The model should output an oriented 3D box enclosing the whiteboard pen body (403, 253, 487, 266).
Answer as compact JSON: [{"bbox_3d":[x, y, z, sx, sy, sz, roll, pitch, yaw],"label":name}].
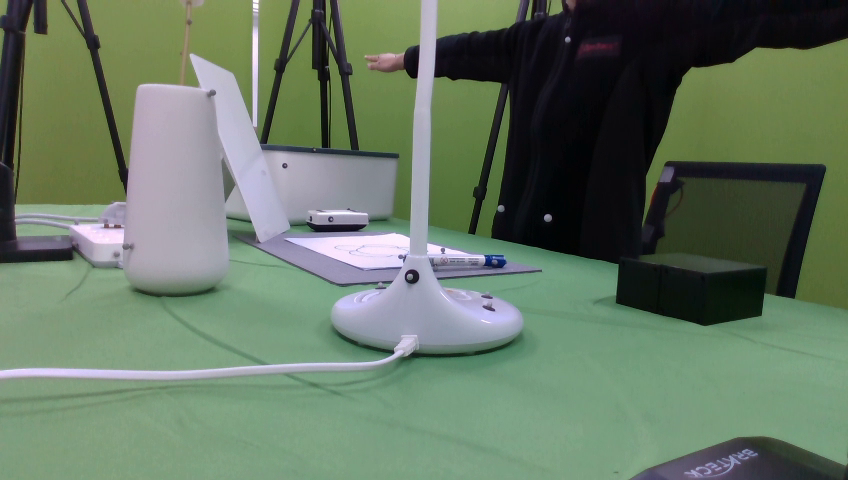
[{"bbox_3d":[0.040,0.026,0.785,0.141,0.017,0.017,1,7,-24],"label":"whiteboard pen body"}]

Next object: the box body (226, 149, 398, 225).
[{"bbox_3d":[-0.265,-0.129,1.380,0.253,0.160,0.366,8,9,39],"label":"box body"}]

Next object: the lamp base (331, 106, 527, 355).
[{"bbox_3d":[0.006,-0.012,0.478,0.161,0.180,0.179,2,10,2],"label":"lamp base"}]

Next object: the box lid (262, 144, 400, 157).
[{"bbox_3d":[-0.263,-0.203,1.369,0.262,0.015,0.373,9,10,39],"label":"box lid"}]

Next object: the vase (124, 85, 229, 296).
[{"bbox_3d":[-0.244,-0.047,0.598,0.098,0.200,0.098,3,8,0],"label":"vase"}]

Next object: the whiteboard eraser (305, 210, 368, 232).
[{"bbox_3d":[-0.168,-0.038,1.172,0.113,0.042,0.055,-3,8,-35],"label":"whiteboard eraser"}]

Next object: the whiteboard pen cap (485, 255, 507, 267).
[{"bbox_3d":[0.093,0.028,0.810,0.033,0.018,0.018,1,7,-24],"label":"whiteboard pen cap"}]

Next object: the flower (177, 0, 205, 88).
[{"bbox_3d":[-0.243,-0.131,0.609,0.044,0.361,0.038,-5,-12,12],"label":"flower"}]

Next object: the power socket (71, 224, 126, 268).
[{"bbox_3d":[-0.409,0.004,0.793,0.072,0.032,0.225,-2,8,-37],"label":"power socket"}]

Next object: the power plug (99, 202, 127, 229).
[{"bbox_3d":[-0.415,-0.026,0.848,0.073,0.052,0.035,6,5,-28],"label":"power plug"}]

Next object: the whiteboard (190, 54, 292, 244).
[{"bbox_3d":[-0.363,-0.129,1.028,0.144,0.305,0.217,-18,7,3],"label":"whiteboard"}]
